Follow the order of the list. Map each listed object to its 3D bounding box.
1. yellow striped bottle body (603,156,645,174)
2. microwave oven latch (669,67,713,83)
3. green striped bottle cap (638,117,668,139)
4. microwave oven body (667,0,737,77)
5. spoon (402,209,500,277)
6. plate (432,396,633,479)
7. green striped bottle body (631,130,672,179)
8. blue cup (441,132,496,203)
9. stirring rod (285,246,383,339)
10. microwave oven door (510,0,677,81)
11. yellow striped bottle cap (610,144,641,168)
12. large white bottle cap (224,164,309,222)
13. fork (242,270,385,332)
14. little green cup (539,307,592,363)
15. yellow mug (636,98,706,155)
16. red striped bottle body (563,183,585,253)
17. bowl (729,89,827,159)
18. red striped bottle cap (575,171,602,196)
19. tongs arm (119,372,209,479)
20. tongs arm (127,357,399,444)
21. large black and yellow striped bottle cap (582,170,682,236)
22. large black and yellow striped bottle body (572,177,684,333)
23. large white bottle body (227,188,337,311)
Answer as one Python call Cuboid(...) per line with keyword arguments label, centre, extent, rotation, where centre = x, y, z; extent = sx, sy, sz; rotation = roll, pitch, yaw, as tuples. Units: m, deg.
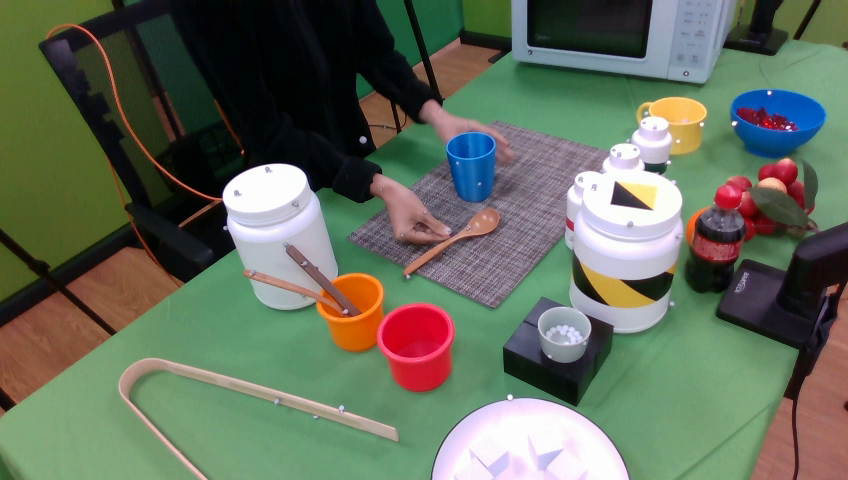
Cuboid(label="yellow striped bottle body", centre=(0.313, -0.089, 0.956), extent=(0.063, 0.121, 0.062), rotation=(-4, 40, 4))
Cuboid(label="microwave oven latch", centre=(0.556, -0.349, 1.261), extent=(0.078, 0.029, 0.030), rotation=(16, 46, 27))
Cuboid(label="green striped bottle cap", centre=(0.369, -0.180, 0.974), extent=(0.044, 0.020, 0.044), rotation=(-4, 41, 4))
Cuboid(label="microwave oven body", centre=(0.462, -0.552, 1.368), extent=(0.439, 0.261, 0.326), rotation=(14, 45, 26))
Cuboid(label="spoon", centre=(0.043, 0.005, 0.957), extent=(0.194, 0.022, 0.041), rotation=(-30, 65, -24))
Cuboid(label="plate", centre=(0.112, 0.261, 0.634), extent=(0.209, 0.038, 0.208), rotation=(-5, 40, 4))
Cuboid(label="green striped bottle body", centre=(0.375, -0.140, 1.007), extent=(0.063, 0.120, 0.063), rotation=(-5, 40, 4))
Cuboid(label="blue cup", centre=(0.084, -0.120, 1.039), extent=(0.092, 0.100, 0.092), rotation=(-4, 41, 4))
Cuboid(label="stirring rod", centre=(-0.121, 0.071, 0.819), extent=(0.176, 0.006, 0.014), rotation=(44, 52, -6))
Cuboid(label="microwave oven door", centre=(0.354, -0.478, 1.290), extent=(0.353, 0.245, 0.039), rotation=(15, 45, 25))
Cuboid(label="yellow striped bottle cap", centre=(0.307, -0.128, 0.923), extent=(0.044, 0.019, 0.044), rotation=(-6, 39, 5))
Cuboid(label="large white bottle cap", centre=(-0.216, -0.066, 0.829), extent=(0.115, 0.018, 0.114), rotation=(-4, 40, 4))
Cuboid(label="fork", centre=(-0.142, 0.082, 0.802), extent=(0.209, 0.018, 0.028), rotation=(28, 38, -26))
Cuboid(label="little green cup", centre=(0.168, 0.115, 0.721), extent=(0.061, 0.039, 0.061), rotation=(-4, 42, 4))
Cuboid(label="yellow mug", centre=(0.453, -0.217, 1.128), extent=(0.100, 0.064, 0.129), rotation=(-34, 46, -27))
Cuboid(label="red striped bottle body", centre=(0.246, -0.041, 0.910), extent=(0.063, 0.120, 0.062), rotation=(-2, 38, 2))
Cuboid(label="bowl", centre=(0.615, -0.197, 1.069), extent=(0.151, 0.077, 0.150), rotation=(-5, 40, 5))
Cuboid(label="red striped bottle cap", centre=(0.242, -0.081, 0.876), extent=(0.044, 0.018, 0.044), rotation=(-5, 44, 5))
Cuboid(label="tongs arm", centre=(-0.258, 0.257, 0.700), extent=(0.384, 0.028, 0.028), rotation=(24, 55, 34))
Cuboid(label="tongs arm", centre=(-0.213, 0.205, 0.755), extent=(0.382, 0.026, 0.051), rotation=(12, 46, 23))
Cuboid(label="large black and yellow striped bottle cap", centre=(0.252, -0.048, 0.735), extent=(0.115, 0.019, 0.114), rotation=(-3, 40, 3))
Cuboid(label="large black and yellow striped bottle body", centre=(0.262, 0.017, 0.788), extent=(0.131, 0.185, 0.130), rotation=(-5, 40, 4))
Cuboid(label="large white bottle body", centre=(-0.207, -0.002, 0.883), extent=(0.130, 0.185, 0.130), rotation=(-4, 40, 4))
